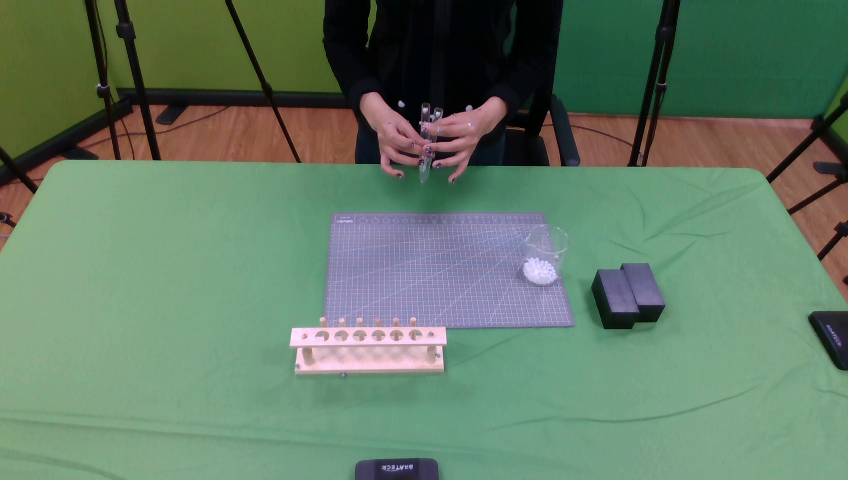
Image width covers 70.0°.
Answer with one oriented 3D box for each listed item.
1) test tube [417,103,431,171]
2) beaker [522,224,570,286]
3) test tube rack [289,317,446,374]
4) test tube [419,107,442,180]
[{"bbox_3d":[-0.001,-0.184,1.105,0.017,0.151,0.017,3,48,-3],"label":"test tube"},{"bbox_3d":[0.221,0.032,1.129,0.084,0.101,0.073,-6,46,-9],"label":"beaker"},{"bbox_3d":[-0.089,0.167,0.988,0.242,0.085,0.066,0,46,-4],"label":"test tube rack"},{"bbox_3d":[0.011,-0.168,1.075,0.017,0.151,0.017,8,41,-7],"label":"test tube"}]
